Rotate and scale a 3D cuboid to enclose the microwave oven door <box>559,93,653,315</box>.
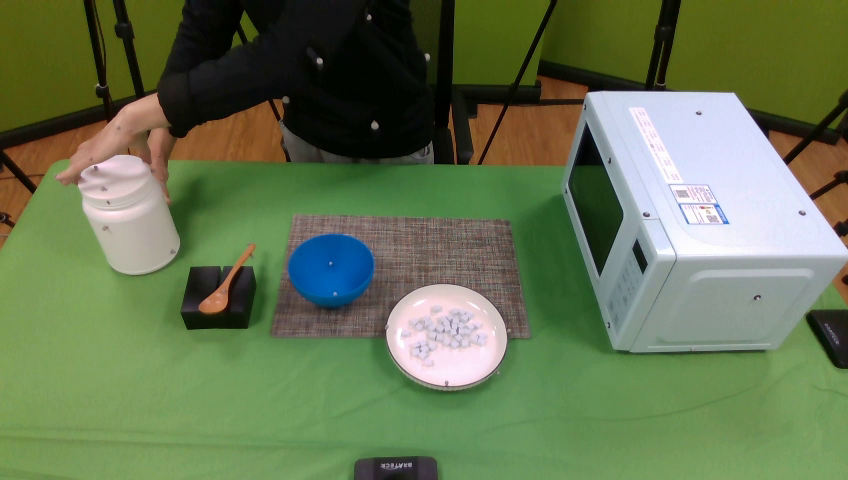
[{"bbox_3d":[0.327,-0.074,1.123,0.039,0.245,0.353,-1,46,-5],"label":"microwave oven door"}]

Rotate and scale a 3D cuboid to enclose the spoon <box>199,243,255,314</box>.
[{"bbox_3d":[-0.333,0.063,1.051,0.041,0.022,0.193,6,40,9],"label":"spoon"}]

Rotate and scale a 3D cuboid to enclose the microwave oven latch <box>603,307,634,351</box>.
[{"bbox_3d":[0.332,0.153,1.044,0.030,0.029,0.078,0,45,-4],"label":"microwave oven latch"}]

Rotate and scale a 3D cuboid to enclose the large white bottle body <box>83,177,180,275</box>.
[{"bbox_3d":[-0.524,-0.042,1.086,0.131,0.185,0.130,2,46,-2],"label":"large white bottle body"}]

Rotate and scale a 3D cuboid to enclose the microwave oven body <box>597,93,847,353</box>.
[{"bbox_3d":[0.475,-0.041,1.109,0.326,0.261,0.438,-1,45,-4],"label":"microwave oven body"}]

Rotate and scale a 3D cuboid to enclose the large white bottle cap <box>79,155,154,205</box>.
[{"bbox_3d":[-0.520,-0.104,1.025,0.115,0.018,0.114,3,46,-2],"label":"large white bottle cap"}]

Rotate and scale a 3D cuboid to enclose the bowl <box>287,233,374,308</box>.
[{"bbox_3d":[-0.164,0.068,1.078,0.151,0.077,0.150,2,46,-2],"label":"bowl"}]

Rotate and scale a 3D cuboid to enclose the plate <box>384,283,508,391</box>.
[{"bbox_3d":[0.036,0.166,1.028,0.209,0.038,0.208,2,49,-2],"label":"plate"}]
